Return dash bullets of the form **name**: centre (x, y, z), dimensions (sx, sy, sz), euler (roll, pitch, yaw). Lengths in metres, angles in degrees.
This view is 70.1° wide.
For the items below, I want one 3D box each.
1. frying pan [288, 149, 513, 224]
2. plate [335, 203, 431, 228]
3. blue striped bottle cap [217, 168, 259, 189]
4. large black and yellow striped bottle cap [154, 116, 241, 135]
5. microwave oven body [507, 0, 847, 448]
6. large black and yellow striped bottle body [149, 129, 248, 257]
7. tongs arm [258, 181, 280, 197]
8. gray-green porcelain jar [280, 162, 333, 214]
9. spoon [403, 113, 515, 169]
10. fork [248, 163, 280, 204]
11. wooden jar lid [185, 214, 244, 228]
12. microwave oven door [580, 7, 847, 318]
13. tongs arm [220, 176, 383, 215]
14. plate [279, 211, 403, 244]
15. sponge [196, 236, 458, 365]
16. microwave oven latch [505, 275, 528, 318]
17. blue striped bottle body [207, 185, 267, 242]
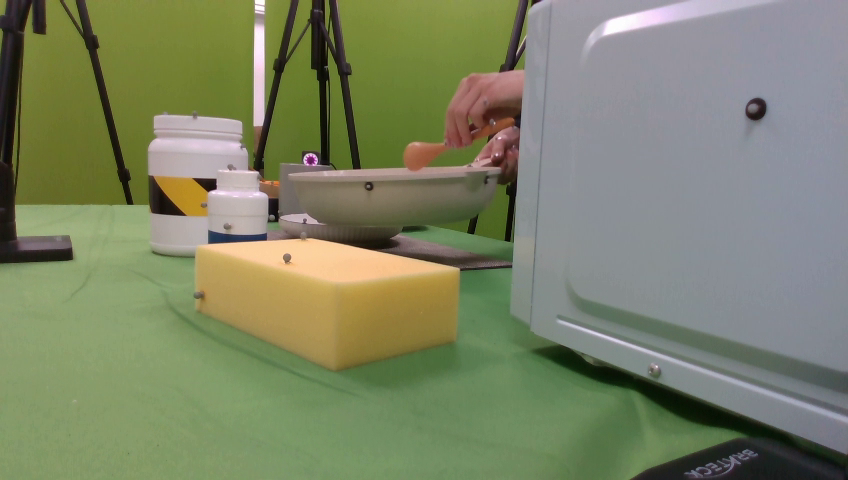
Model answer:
- **frying pan**: centre (0.034, -0.099, 0.908), dimensions (0.305, 0.103, 0.490), euler (7, 21, 44)
- **plate**: centre (-0.089, -0.053, 1.309), dimensions (0.208, 0.039, 0.207), euler (2, 8, 0)
- **blue striped bottle cap**: centre (-0.202, -0.067, 0.656), dimensions (0.044, 0.020, 0.044), euler (0, 10, 0)
- **large black and yellow striped bottle cap**: centre (-0.314, -0.158, 0.843), dimensions (0.115, 0.019, 0.115), euler (3, 7, 0)
- **microwave oven body**: centre (0.331, -0.042, 0.425), dimensions (0.444, 0.260, 0.324), euler (-2, 8, -31)
- **large black and yellow striped bottle body**: centre (-0.315, -0.075, 0.854), dimensions (0.131, 0.184, 0.130), euler (1, 7, 0)
- **tongs arm**: centre (-0.241, -0.095, 1.373), dimensions (0.387, 0.026, 0.050), euler (9, 0, -37)
- **gray-green porcelain jar**: centre (-0.238, -0.092, 1.221), dimensions (0.106, 0.126, 0.106), euler (2, 7, 0)
- **spoon**: centre (0.041, -0.138, 0.818), dimensions (0.193, 0.041, 0.022), euler (-15, -2, 36)
- **fork**: centre (-0.396, -0.143, 1.486), dimensions (0.028, 0.018, 0.208), euler (20, -26, 45)
- **wooden jar lid**: centre (-0.404, -0.037, 1.169), dimensions (0.108, 0.020, 0.108), euler (3, 7, 0)
- **microwave oven door**: centre (0.295, -0.067, 0.570), dimensions (0.358, 0.243, 0.039), euler (-3, 9, -31)
- **tongs arm**: centre (-0.285, -0.104, 1.445), dimensions (0.389, 0.027, 0.028), euler (9, -4, -23)
- **plate**: centre (-0.139, -0.022, 1.021), dimensions (0.209, 0.038, 0.209), euler (2, 8, 0)
- **sponge**: centre (-0.087, 0.039, 0.500), dimensions (0.206, 0.061, 0.119), euler (8, 10, 44)
- **microwave oven latch**: centre (0.100, 0.041, 0.472), dimensions (0.079, 0.029, 0.030), euler (-2, 8, -30)
- **blue striped bottle body**: centre (-0.204, -0.016, 0.663), dimensions (0.063, 0.120, 0.063), euler (2, 7, 0)
